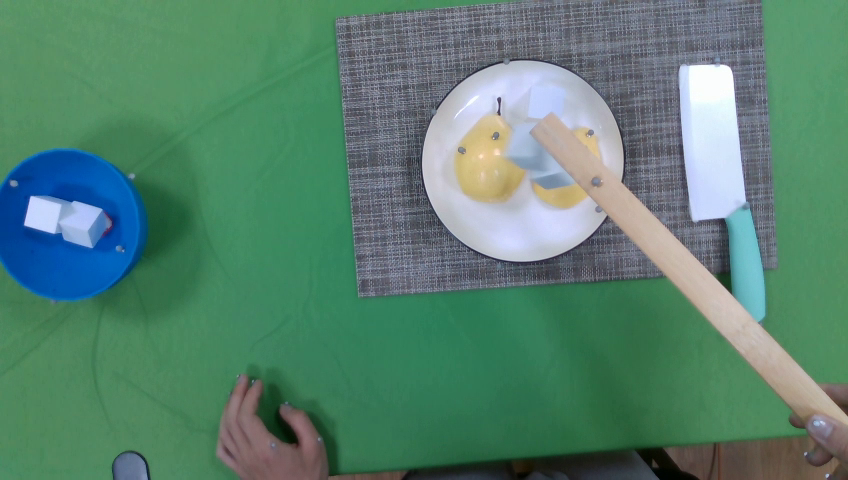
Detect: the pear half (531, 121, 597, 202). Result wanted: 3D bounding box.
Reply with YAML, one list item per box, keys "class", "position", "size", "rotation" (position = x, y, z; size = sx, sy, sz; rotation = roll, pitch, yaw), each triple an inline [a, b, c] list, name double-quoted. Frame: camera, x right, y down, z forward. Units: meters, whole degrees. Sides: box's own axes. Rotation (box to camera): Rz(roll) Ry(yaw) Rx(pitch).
- class: "pear half"
  position: [0.150, -0.083, 0.624]
  size: [0.070, 0.031, 0.088]
  rotation: [27, 98, -4]

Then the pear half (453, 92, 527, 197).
- class: "pear half"
  position: [0.069, -0.101, 0.617]
  size: [0.076, 0.056, 0.109]
  rotation: [5, 89, -2]

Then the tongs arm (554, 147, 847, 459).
- class: "tongs arm"
  position: [0.235, 0.043, 0.493]
  size: [0.026, 0.051, 0.382]
  rotation: [-43, 76, 13]

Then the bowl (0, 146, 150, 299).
- class: "bowl"
  position: [-0.348, -0.018, 0.628]
  size: [0.151, 0.077, 0.151]
  rotation: [0, 92, 1]

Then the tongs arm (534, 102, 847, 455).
- class: "tongs arm"
  position: [0.219, 0.041, 0.450]
  size: [0.028, 0.028, 0.385]
  rotation: [-42, 78, 9]

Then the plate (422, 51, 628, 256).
- class: "plate"
  position: [0.102, -0.087, 0.630]
  size: [0.207, 0.039, 0.207]
  rotation: [0, 93, 2]

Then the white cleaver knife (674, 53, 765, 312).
- class: "white cleaver knife"
  position: [0.310, -0.056, 0.640]
  size: [0.066, 0.021, 0.286]
  rotation: [-8, 89, 12]
